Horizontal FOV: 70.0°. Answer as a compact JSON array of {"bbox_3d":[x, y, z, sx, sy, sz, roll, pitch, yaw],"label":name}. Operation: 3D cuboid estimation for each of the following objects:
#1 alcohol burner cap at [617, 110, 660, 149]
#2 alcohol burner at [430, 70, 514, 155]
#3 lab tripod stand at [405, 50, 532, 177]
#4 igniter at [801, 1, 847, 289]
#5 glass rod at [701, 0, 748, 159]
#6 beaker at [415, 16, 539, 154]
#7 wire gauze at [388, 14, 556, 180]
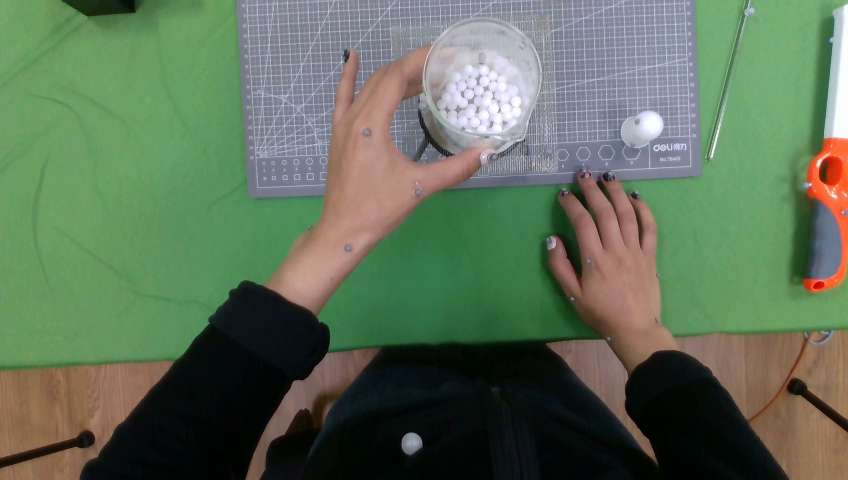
[{"bbox_3d":[0.208,-0.107,0.580,0.034,0.048,0.034,0,88,2],"label":"alcohol burner cap"},{"bbox_3d":[0.044,-0.118,0.546,0.078,0.119,0.078,0,89,1],"label":"alcohol burner"},{"bbox_3d":[0.039,-0.108,0.537,0.148,0.131,0.148,0,90,2],"label":"lab tripod stand"},{"bbox_3d":[0.399,-0.089,0.588,0.057,0.025,0.276,5,92,-10],"label":"igniter"},{"bbox_3d":[0.300,-0.177,0.597,0.008,0.008,0.199,14,92,0],"label":"glass rod"},{"bbox_3d":[0.038,-0.098,0.421,0.074,0.100,0.084,-35,89,3],"label":"beaker"},{"bbox_3d":[0.037,-0.110,0.470,0.125,0.011,0.121,-4,91,3],"label":"wire gauze"}]
